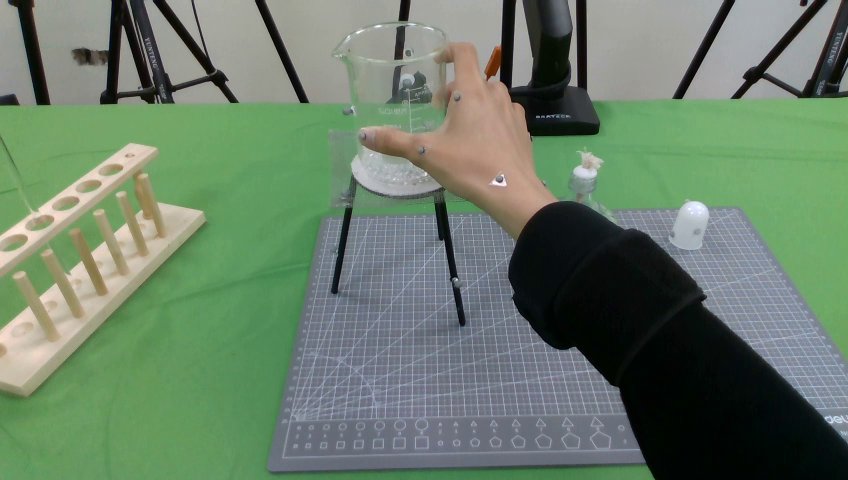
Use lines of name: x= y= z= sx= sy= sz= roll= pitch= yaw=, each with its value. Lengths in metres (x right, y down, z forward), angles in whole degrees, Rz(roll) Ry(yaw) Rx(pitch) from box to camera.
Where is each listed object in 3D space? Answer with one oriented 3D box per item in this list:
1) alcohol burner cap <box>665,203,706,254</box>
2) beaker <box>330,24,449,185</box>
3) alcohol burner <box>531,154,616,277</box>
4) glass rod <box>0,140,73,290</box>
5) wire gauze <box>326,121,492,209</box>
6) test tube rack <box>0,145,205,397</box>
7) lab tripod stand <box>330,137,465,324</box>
alcohol burner cap: x=0.259 y=-0.014 z=0.597 sx=0.034 sy=0.048 sz=0.033 roll=-1 pitch=39 yaw=1
beaker: x=-0.022 y=-0.098 z=0.451 sx=0.084 sy=0.101 sz=0.073 roll=-5 pitch=39 yaw=-3
alcohol burner: x=0.139 y=-0.025 z=0.556 sx=0.078 sy=0.120 sz=0.077 roll=-1 pitch=37 yaw=1
glass rod: x=-0.334 y=-0.039 z=0.504 sx=0.008 sy=0.201 sz=0.008 roll=-4 pitch=33 yaw=3
wire gauze: x=-0.017 y=-0.060 z=0.482 sx=0.125 sy=0.011 sz=0.120 roll=-7 pitch=37 yaw=-2
test tube rack: x=-0.305 y=0.014 z=0.544 sx=0.066 sy=0.086 sz=0.241 roll=12 pitch=40 yaw=15
lab tripod stand: x=-0.016 y=-0.010 z=0.524 sx=0.148 sy=0.133 sz=0.147 roll=-1 pitch=41 yaw=1
